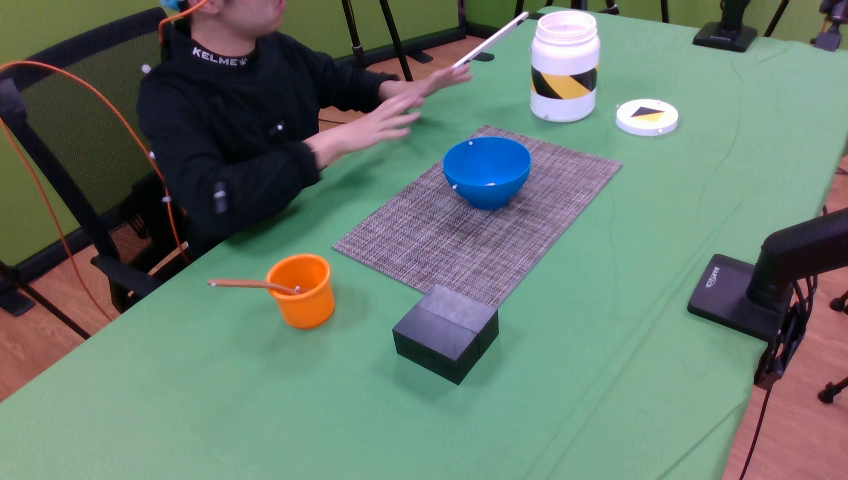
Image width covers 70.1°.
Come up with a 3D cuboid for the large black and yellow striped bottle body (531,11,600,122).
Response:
[{"bbox_3d":[0.279,-0.344,1.202,0.131,0.185,0.130,-4,42,4],"label":"large black and yellow striped bottle body"}]

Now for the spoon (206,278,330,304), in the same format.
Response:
[{"bbox_3d":[-0.207,0.066,0.824,0.041,0.195,0.021,34,100,40],"label":"spoon"}]

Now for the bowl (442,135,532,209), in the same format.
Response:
[{"bbox_3d":[0.108,-0.106,1.026,0.151,0.077,0.150,-4,41,4],"label":"bowl"}]

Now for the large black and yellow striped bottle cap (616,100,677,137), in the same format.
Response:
[{"bbox_3d":[0.438,-0.241,1.190,0.115,0.019,0.114,-4,42,4],"label":"large black and yellow striped bottle cap"}]
